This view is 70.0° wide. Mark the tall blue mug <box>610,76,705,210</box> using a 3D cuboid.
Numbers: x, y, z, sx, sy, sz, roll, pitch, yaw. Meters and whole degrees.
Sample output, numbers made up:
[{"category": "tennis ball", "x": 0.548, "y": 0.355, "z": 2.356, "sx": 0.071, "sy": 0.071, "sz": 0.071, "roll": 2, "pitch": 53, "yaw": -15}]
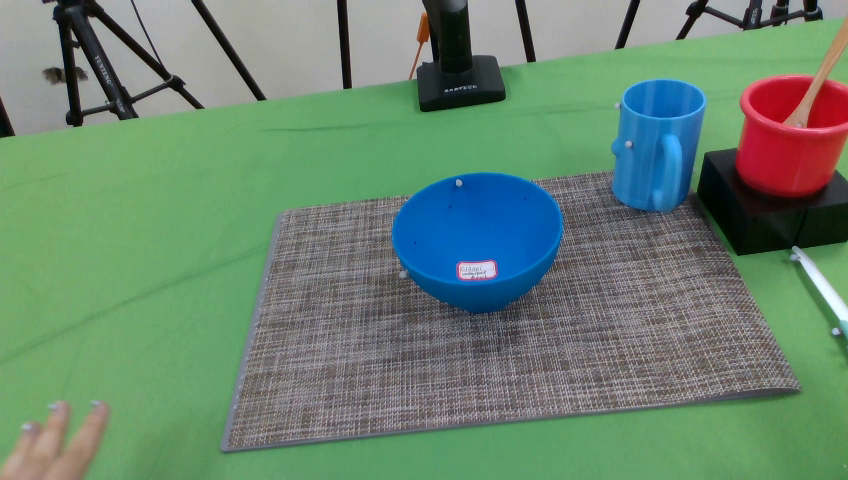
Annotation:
[{"category": "tall blue mug", "x": 0.238, "y": -0.089, "z": 0.600, "sx": 0.078, "sy": 0.109, "sz": 0.106, "roll": -21, "pitch": 43, "yaw": -12}]

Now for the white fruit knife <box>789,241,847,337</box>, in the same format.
[{"category": "white fruit knife", "x": 0.344, "y": 0.069, "z": 0.485, "sx": 0.027, "sy": 0.016, "sz": 0.205, "roll": 14, "pitch": 38, "yaw": -14}]

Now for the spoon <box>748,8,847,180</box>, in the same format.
[{"category": "spoon", "x": 0.350, "y": -0.141, "z": 0.540, "sx": 0.041, "sy": 0.022, "sz": 0.194, "roll": 32, "pitch": 101, "yaw": 38}]

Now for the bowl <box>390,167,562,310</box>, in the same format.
[{"category": "bowl", "x": 0.049, "y": 0.010, "z": 0.552, "sx": 0.151, "sy": 0.077, "sz": 0.150, "roll": -5, "pitch": 43, "yaw": 5}]
